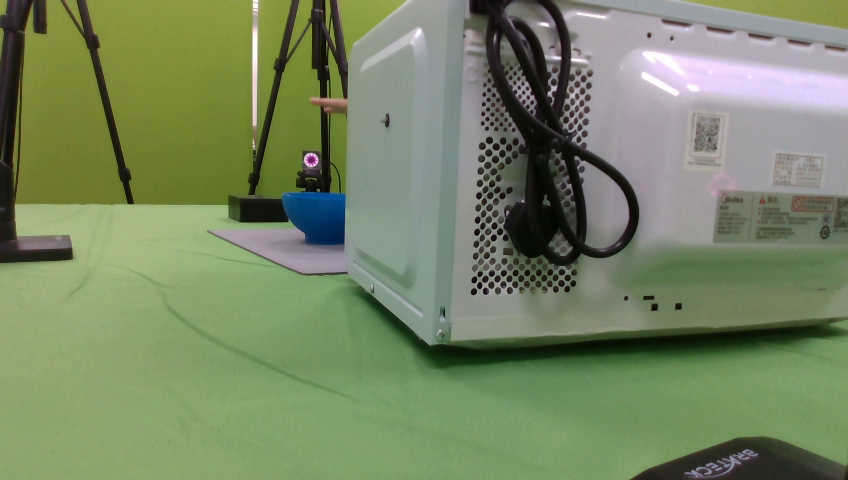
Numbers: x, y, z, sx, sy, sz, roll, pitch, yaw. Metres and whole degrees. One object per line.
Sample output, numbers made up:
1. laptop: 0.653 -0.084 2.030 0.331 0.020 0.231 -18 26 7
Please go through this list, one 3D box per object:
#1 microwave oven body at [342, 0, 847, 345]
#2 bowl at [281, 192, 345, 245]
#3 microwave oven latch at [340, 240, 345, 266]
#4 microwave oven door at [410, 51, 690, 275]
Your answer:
1. microwave oven body: 0.169 -0.060 0.573 0.444 0.260 0.324 1 7 -20
2. bowl: -0.158 -0.035 0.991 0.151 0.077 0.151 3 7 0
3. microwave oven latch: -0.052 0.016 0.662 0.079 0.029 0.030 1 7 -19
4. microwave oven door: 0.162 -0.084 0.723 0.357 0.243 0.039 0 7 -20
